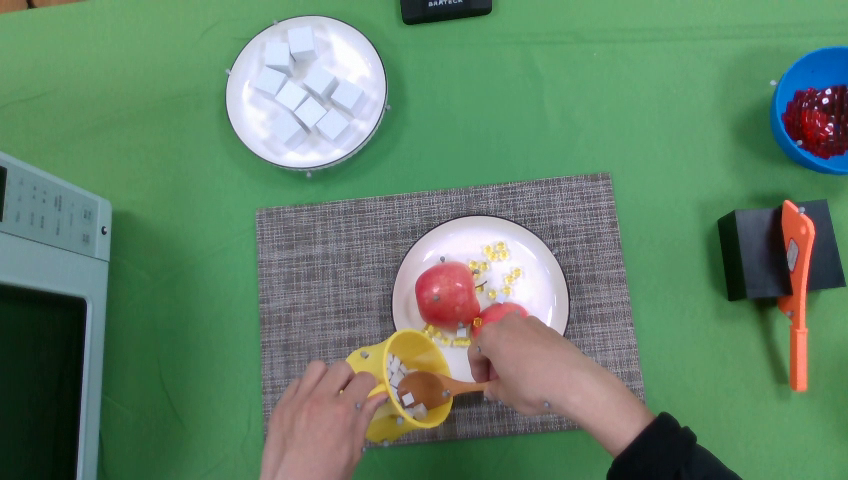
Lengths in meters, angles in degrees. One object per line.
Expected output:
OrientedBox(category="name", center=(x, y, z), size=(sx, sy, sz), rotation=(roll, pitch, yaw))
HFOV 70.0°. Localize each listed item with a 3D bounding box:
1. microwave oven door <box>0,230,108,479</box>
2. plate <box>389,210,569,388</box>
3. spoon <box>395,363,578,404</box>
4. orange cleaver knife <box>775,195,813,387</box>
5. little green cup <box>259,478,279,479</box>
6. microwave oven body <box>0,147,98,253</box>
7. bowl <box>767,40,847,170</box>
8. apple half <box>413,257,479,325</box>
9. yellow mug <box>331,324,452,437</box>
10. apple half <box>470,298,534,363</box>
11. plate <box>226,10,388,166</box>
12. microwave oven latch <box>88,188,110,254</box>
OrientedBox(category="microwave oven door", center=(-0.412, 0.175, 0.612), size=(0.039, 0.245, 0.354), rotation=(-3, 79, 4))
OrientedBox(category="plate", center=(0.063, 0.069, 0.716), size=(0.209, 0.038, 0.208), rotation=(-1, 81, 4))
OrientedBox(category="spoon", center=(0.054, 0.135, 0.583), size=(0.193, 0.022, 0.041), rotation=(-13, 89, 34))
OrientedBox(category="orange cleaver knife", center=(0.408, 0.057, 0.674), size=(0.012, 0.077, 0.212), rotation=(-5, 103, 7))
OrientedBox(category="little green cup", center=(-0.182, 0.304, 0.694), size=(0.061, 0.039, 0.061), rotation=(-1, 82, 5))
OrientedBox(category="microwave oven body", center=(-0.559, 0.140, 0.633), size=(0.326, 0.261, 0.440), rotation=(-3, 80, 3))
OrientedBox(category="bowl", center=(0.468, -0.146, 0.708), size=(0.151, 0.077, 0.151), rotation=(-1, 80, 4))
OrientedBox(category="apple half", center=(0.024, 0.058, 0.705), size=(0.074, 0.053, 0.080), rotation=(-8, 80, 5))
OrientedBox(category="yellow mug", center=(-0.037, 0.143, 0.600), size=(0.064, 0.131, 0.099), rotation=(-29, 76, 35))
OrientedBox(category="apple half", center=(0.090, 0.105, 0.701), size=(0.081, 0.033, 0.081), rotation=(-1, 77, 5))
OrientedBox(category="plate", center=(-0.148, -0.192, 0.781), size=(0.207, 0.039, 0.207), rotation=(-1, 80, 4))
OrientedBox(category="microwave oven latch", center=(-0.410, -0.023, 0.750), size=(0.030, 0.029, 0.079), rotation=(-1, 81, 3))
